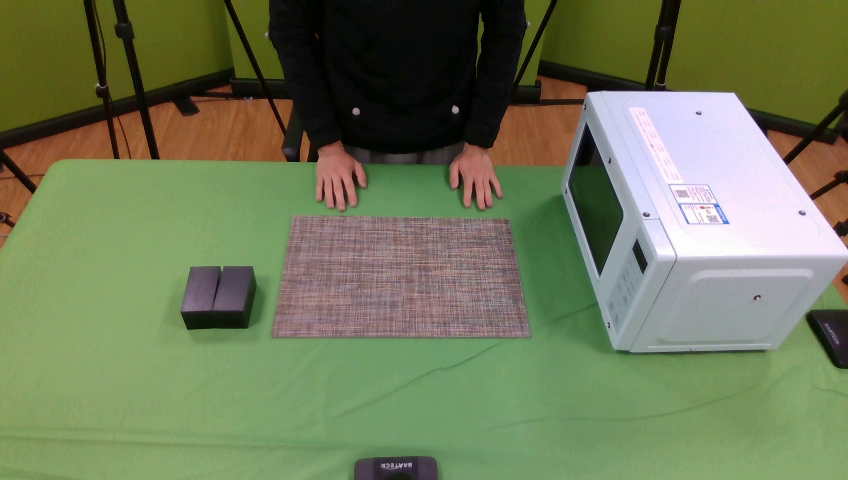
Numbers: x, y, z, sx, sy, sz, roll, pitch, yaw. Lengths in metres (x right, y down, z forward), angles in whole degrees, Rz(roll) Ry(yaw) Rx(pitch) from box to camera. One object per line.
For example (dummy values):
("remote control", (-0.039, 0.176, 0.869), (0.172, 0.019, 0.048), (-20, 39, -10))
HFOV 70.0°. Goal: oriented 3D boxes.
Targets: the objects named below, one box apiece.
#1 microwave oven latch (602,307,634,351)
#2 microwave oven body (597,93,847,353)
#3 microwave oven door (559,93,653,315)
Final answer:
("microwave oven latch", (0.332, 0.153, 1.043), (0.030, 0.029, 0.078), (0, 45, -4))
("microwave oven body", (0.475, -0.041, 1.109), (0.326, 0.261, 0.438), (-1, 45, -4))
("microwave oven door", (0.327, -0.074, 1.123), (0.039, 0.245, 0.353), (-1, 46, -5))
